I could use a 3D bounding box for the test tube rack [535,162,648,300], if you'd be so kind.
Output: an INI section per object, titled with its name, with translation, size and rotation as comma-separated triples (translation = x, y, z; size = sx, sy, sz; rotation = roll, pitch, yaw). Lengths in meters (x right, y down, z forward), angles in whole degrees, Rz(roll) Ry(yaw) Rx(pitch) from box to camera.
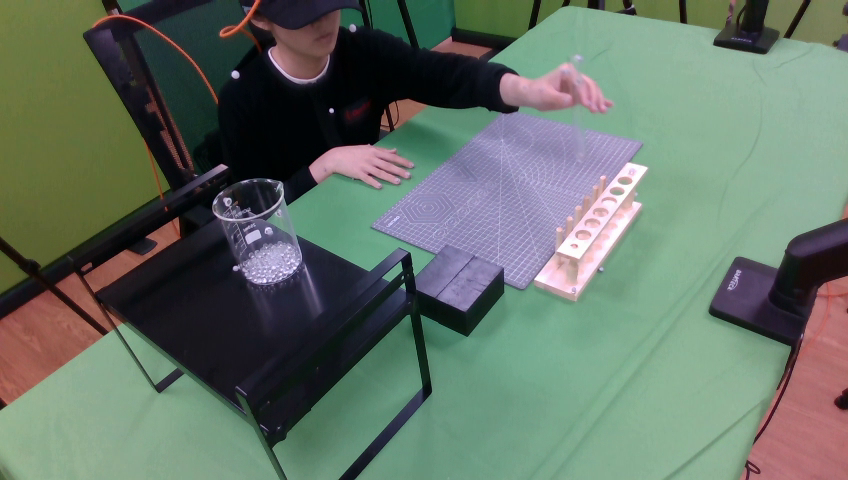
[test tube rack]
translation = 0.257, -0.024, 0.916
size = 0.066, 0.085, 0.243
rotation = 22, 49, 30

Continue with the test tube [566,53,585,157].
[test tube]
translation = 0.214, -0.188, 0.852
size = 0.017, 0.151, 0.017
rotation = -10, 28, 6

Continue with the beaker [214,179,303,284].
[beaker]
translation = -0.178, -0.008, 0.675
size = 0.073, 0.101, 0.084
rotation = 22, 48, 30
